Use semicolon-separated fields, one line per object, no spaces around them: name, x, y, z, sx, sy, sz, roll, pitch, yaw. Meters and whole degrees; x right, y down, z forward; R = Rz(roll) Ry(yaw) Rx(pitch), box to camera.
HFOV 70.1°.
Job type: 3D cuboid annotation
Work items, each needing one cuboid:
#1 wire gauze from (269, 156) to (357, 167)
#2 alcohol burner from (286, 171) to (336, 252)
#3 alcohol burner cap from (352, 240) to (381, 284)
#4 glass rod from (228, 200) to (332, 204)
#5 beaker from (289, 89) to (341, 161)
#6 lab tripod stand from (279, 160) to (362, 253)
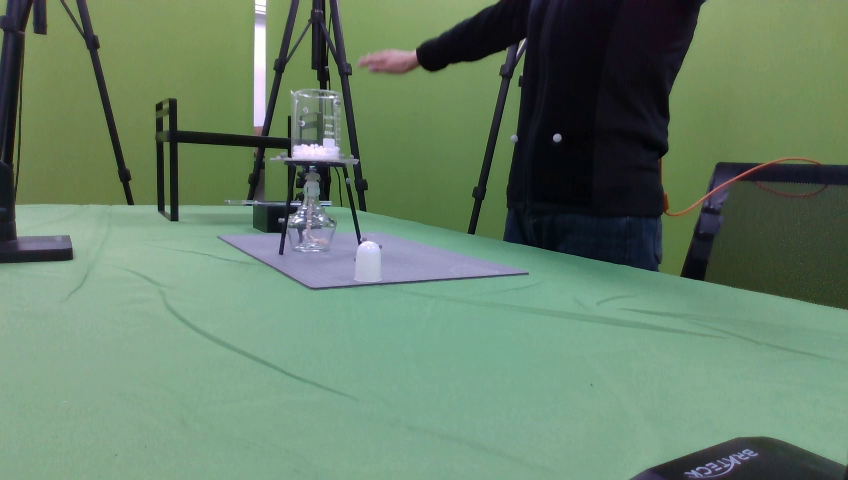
wire gauze;-0.159;-0.116;0.886;0.122;0.011;0.125;2;4;-9
alcohol burner;-0.170;-0.043;0.898;0.078;0.119;0.078;2;5;0
alcohol burner cap;-0.065;0.023;0.690;0.034;0.048;0.034;3;9;0
glass rod;-0.270;-0.071;1.149;0.201;0.008;0.008;-1;8;-30
beaker;-0.161;-0.164;0.879;0.073;0.100;0.084;6;8;34
lab tripod stand;-0.166;-0.052;0.897;0.148;0.131;0.148;0;7;0
